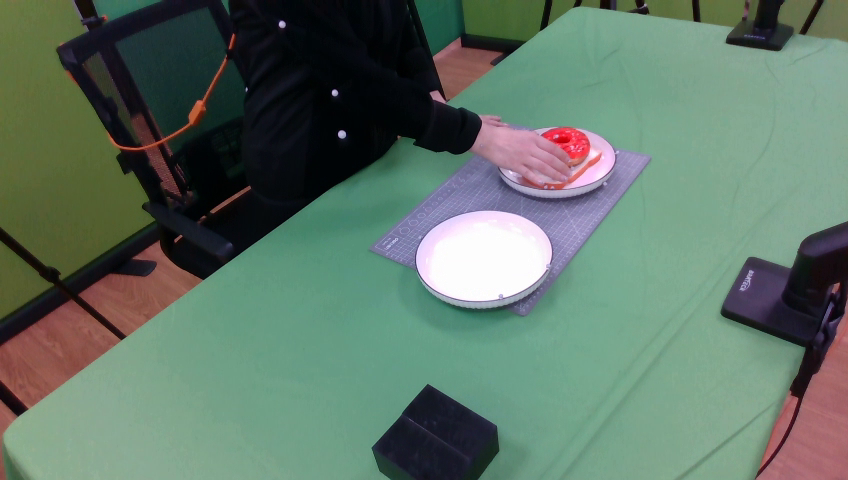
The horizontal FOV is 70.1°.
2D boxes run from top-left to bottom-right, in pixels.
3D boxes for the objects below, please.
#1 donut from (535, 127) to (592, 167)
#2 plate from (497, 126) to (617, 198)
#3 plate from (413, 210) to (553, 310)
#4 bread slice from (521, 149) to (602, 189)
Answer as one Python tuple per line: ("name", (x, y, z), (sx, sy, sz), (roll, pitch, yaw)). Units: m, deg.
("donut", (0.248, -0.165, 1.073), (0.099, 0.048, 0.098), (-6, 39, 5))
("plate", (0.236, -0.136, 1.085), (0.209, 0.038, 0.208), (-5, 40, 5))
("plate", (0.089, 0.033, 0.914), (0.207, 0.039, 0.206), (-5, 40, 5))
("bread slice", (0.242, -0.136, 1.086), (0.106, 0.018, 0.134), (24, 51, 33))
